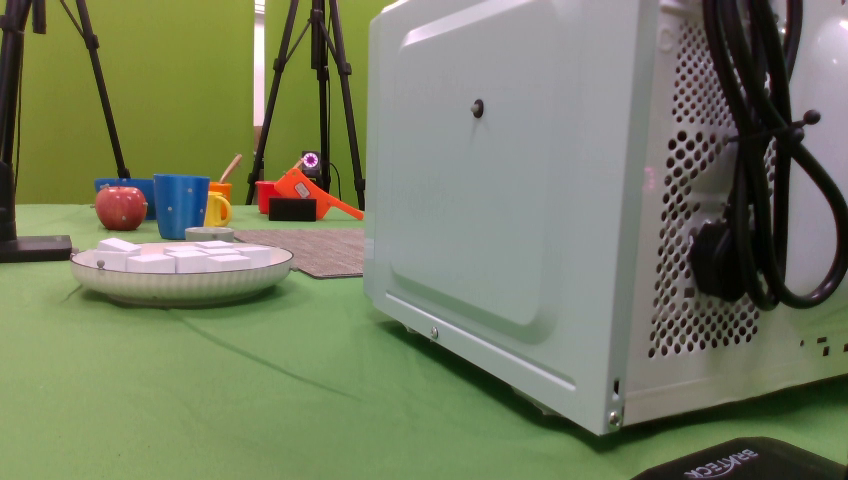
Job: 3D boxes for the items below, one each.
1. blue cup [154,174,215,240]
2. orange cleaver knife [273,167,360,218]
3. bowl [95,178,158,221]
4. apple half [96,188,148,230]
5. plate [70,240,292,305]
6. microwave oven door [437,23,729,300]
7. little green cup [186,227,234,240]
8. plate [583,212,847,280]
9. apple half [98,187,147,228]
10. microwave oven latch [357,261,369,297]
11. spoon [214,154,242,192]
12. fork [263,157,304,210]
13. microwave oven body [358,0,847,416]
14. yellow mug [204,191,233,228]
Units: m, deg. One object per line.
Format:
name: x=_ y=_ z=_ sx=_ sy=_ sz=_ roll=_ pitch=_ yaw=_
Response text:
blue cup: x=-0.391 y=-0.053 z=0.978 sx=0.093 sy=0.100 sz=0.092 roll=4 pitch=6 yaw=0
orange cleaver knife: x=-0.238 y=-0.091 z=1.381 sx=0.212 sy=0.077 sz=0.012 roll=31 pitch=0 yaw=-19
bowl: x=-0.576 y=-0.081 z=1.217 sx=0.151 sy=0.077 sz=0.151 roll=3 pitch=8 yaw=0
apple half: x=-0.517 y=-0.052 z=1.036 sx=0.081 sy=0.074 sz=0.053 roll=2 pitch=10 yaw=-26
plate: x=-0.242 y=0.031 z=0.618 sx=0.208 sy=0.039 sz=0.207 roll=2 pitch=8 yaw=0
microwave oven door: x=0.181 y=-0.072 z=0.621 sx=0.358 sy=0.243 sz=0.039 roll=-2 pitch=8 yaw=-29
little green cup: x=-0.285 y=0.005 z=0.805 sx=0.061 sy=0.038 sz=0.061 roll=2 pitch=8 yaw=0
plate: x=0.239 y=0.002 z=0.510 sx=0.209 sy=0.038 sz=0.209 roll=2 pitch=7 yaw=0
apple half: x=-0.534 y=-0.059 z=1.071 sx=0.082 sy=0.081 sz=0.032 roll=-1 pitch=11 yaw=-25
microwave oven latch: x=-0.019 y=0.033 z=0.530 sx=0.079 sy=0.029 sz=0.030 roll=-1 pitch=7 yaw=-26
spoon: x=-0.439 y=-0.124 z=1.317 sx=0.041 sy=0.193 sz=0.022 roll=5 pitch=-37 yaw=16
fork: x=-0.345 y=-0.143 z=1.505 sx=0.028 sy=0.019 sz=0.207 roll=-3 pitch=46 yaw=27
microwave oven body: x=0.211 y=-0.047 z=0.474 sx=0.444 sy=0.260 sz=0.324 roll=-1 pitch=7 yaw=-28
yellow mug: x=-0.415 y=-0.057 z=1.132 sx=0.130 sy=0.064 sz=0.100 roll=6 pitch=8 yaw=16
